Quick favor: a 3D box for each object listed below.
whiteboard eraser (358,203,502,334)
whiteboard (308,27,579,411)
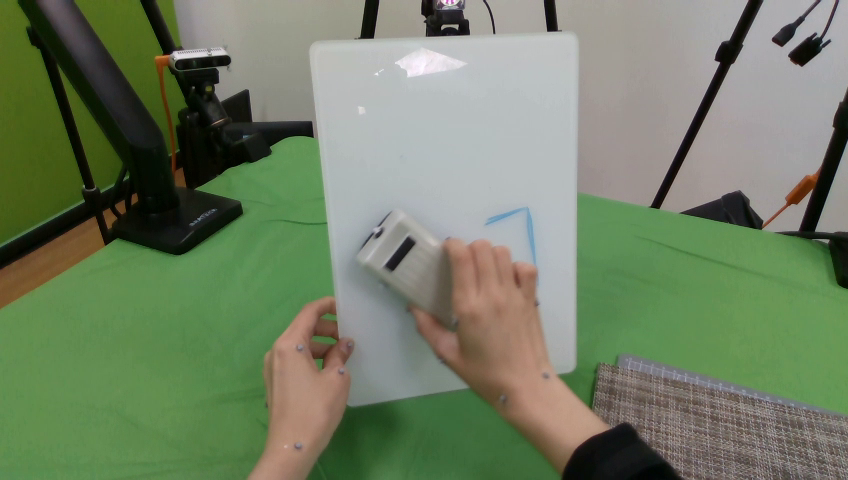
[{"bbox_3d":[0.006,0.024,0.490,0.113,0.055,0.041,38,-1,-20],"label":"whiteboard eraser"},{"bbox_3d":[0.015,-0.028,0.569,0.218,0.306,0.143,-6,15,-10],"label":"whiteboard"}]
